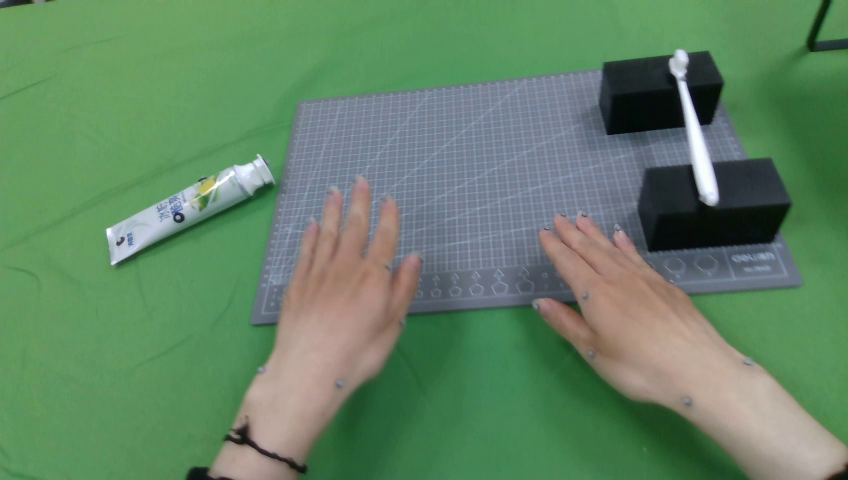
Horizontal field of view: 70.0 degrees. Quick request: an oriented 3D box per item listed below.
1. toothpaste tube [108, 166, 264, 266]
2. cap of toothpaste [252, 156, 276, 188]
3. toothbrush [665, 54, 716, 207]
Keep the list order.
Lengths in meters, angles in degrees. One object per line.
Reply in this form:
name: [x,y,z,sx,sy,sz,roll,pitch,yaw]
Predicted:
toothpaste tube: [-0.234,-0.031,0.603,0.165,0.035,0.054,-28,46,-8]
cap of toothpaste: [-0.163,-0.067,0.613,0.011,0.038,0.037,-32,53,-15]
toothbrush: [0.227,-0.100,0.517,0.014,0.017,0.180,8,53,-3]
